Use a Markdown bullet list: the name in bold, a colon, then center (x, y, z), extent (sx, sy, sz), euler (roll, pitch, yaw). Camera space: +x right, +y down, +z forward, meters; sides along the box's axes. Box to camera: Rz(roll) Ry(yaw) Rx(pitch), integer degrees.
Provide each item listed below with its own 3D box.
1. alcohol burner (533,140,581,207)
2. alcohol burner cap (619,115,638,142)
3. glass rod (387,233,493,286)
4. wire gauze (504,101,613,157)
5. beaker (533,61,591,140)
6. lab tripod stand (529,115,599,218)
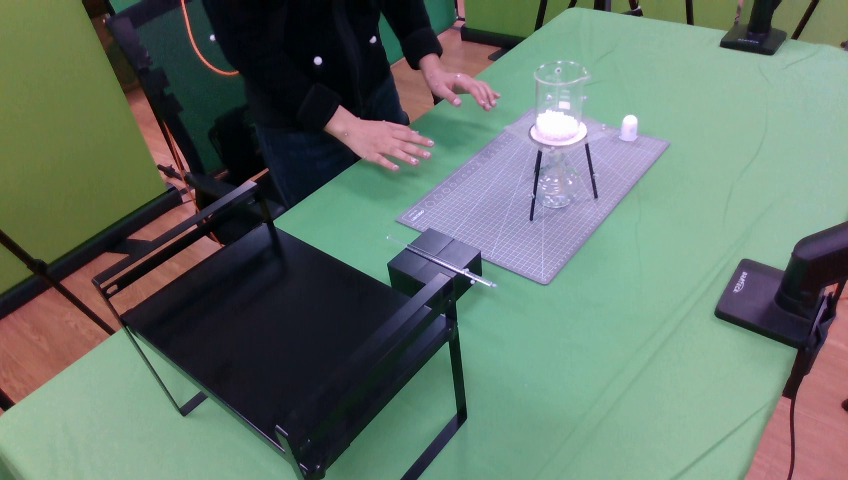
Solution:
- **alcohol burner**: center (0.220, -0.114, 0.999), extent (0.078, 0.119, 0.077), euler (-5, 42, 5)
- **alcohol burner cap**: center (0.389, -0.214, 1.145), extent (0.034, 0.048, 0.033), euler (-3, 40, 3)
- **glass rod**: center (0.018, 0.027, 0.878), extent (0.198, 0.008, 0.008), euler (25, 50, 33)
- **wire gauze**: center (0.211, -0.175, 0.956), extent (0.125, 0.011, 0.120), euler (-26, 43, -17)
- **beaker**: center (0.208, -0.210, 0.922), extent (0.083, 0.101, 0.074), euler (5, 44, 14)
- **lab tripod stand**: center (0.217, -0.123, 0.996), extent (0.148, 0.132, 0.147), euler (-4, 43, 4)
